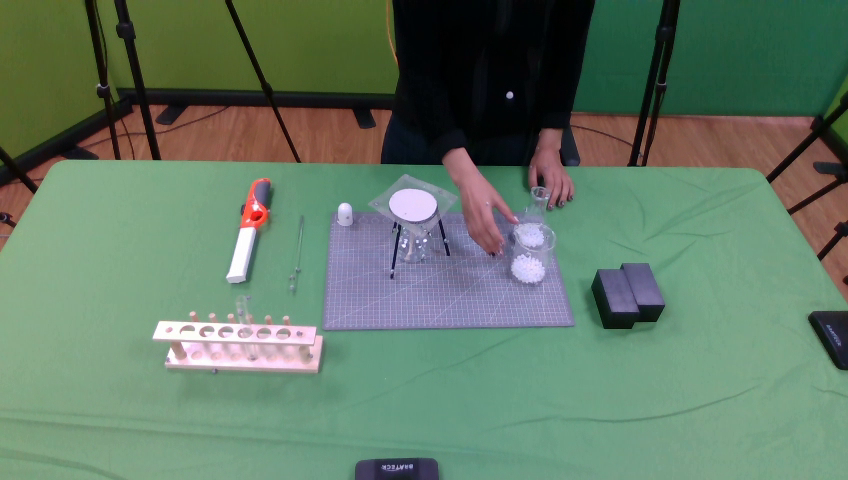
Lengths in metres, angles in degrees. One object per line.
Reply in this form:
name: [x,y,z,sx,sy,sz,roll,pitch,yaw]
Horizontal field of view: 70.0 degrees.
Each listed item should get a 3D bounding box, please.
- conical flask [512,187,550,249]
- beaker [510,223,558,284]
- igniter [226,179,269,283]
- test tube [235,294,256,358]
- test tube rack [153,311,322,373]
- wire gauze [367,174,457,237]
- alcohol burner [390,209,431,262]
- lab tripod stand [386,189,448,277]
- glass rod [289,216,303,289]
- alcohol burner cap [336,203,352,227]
conical flask: [0.217,-0.048,1.190,0.075,0.122,0.075,2,46,-2]
beaker: [0.199,0.027,1.131,0.083,0.101,0.074,27,50,21]
igniter: [-0.345,-0.027,1.195,0.057,0.025,0.274,-6,46,5]
test tube: [-0.274,0.136,0.933,0.017,0.151,0.017,4,45,-4]
test tube rack: [-0.293,0.160,0.978,0.242,0.085,0.066,3,46,-2]
wire gauze: [-0.021,-0.068,1.088,0.124,0.011,0.121,28,49,20]
alcohol burner: [-0.024,-0.014,1.144,0.078,0.119,0.077,4,45,-3]
lab tripod stand: [-0.021,-0.018,1.135,0.148,0.132,0.147,3,44,-3]
glass rod: [-0.247,0.019,1.171,0.008,0.008,0.198,0,43,-3]
alcohol burner cap: [-0.162,-0.053,1.221,0.034,0.048,0.033,2,47,-2]
